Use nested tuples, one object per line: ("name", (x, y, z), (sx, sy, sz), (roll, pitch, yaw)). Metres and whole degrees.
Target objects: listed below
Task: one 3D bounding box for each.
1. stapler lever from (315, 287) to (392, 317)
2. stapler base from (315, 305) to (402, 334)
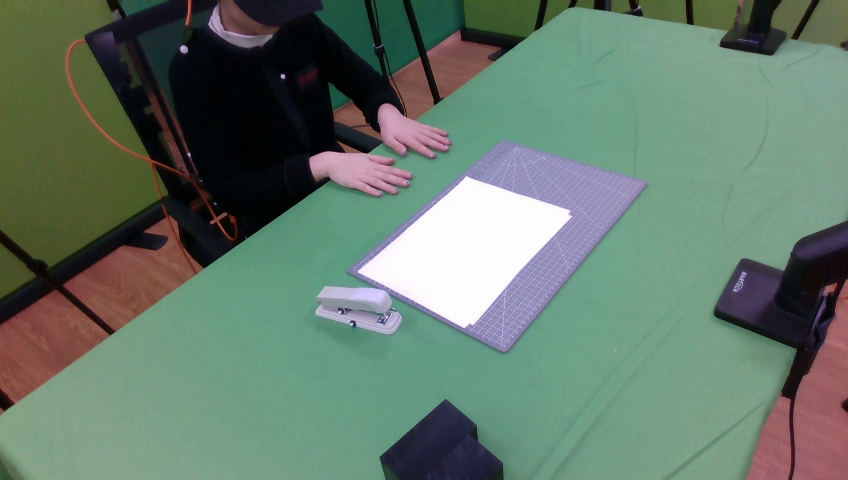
("stapler lever", (-0.101, 0.082, 0.852), (0.117, 0.040, 0.027), (10, 41, 22))
("stapler base", (-0.096, 0.101, 0.868), (0.130, 0.024, 0.041), (10, 41, 22))
